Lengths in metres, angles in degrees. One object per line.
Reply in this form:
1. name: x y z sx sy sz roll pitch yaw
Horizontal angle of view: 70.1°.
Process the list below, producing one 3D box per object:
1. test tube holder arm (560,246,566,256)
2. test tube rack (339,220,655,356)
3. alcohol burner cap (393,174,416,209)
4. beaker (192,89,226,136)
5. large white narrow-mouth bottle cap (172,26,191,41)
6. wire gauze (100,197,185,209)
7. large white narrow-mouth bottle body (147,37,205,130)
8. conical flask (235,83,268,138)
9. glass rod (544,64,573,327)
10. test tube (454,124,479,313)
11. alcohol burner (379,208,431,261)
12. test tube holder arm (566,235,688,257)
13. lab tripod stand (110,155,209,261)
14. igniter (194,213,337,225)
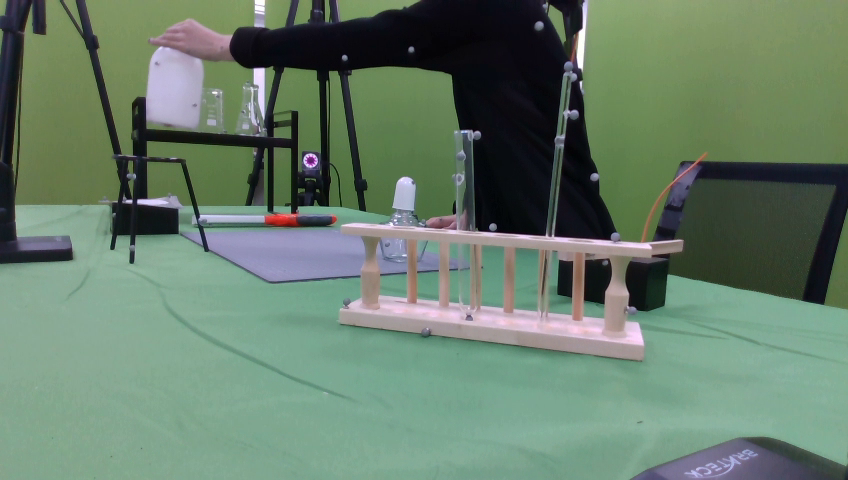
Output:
1. test tube holder arm: 0.173 0.007 0.611 0.088 0.015 0.010 -3 10 -29
2. test tube rack: 0.056 0.032 0.495 0.242 0.085 0.067 4 7 15
3. alcohol burner cap: -0.025 -0.067 0.834 0.034 0.048 0.034 8 7 -1
4. beaker: -0.485 -0.284 1.353 0.073 0.100 0.084 9 10 42
5. large white narrow-mouth bottle cap: -0.484 -0.410 1.207 0.038 0.024 0.037 7 3 0
6. wire gauze: -0.469 -0.062 1.008 0.126 0.011 0.121 -2 8 -25
7. large white narrow-mouth bottle body: -0.493 -0.325 1.210 0.102 0.194 0.102 7 3 0
8. conical flask: -0.401 -0.299 1.405 0.075 0.122 0.075 2 7 0
9. glass rod: 0.101 -0.028 0.453 0.008 0.199 0.008 2 14 0
10. test tube: 0.034 -0.015 0.476 0.017 0.150 0.017 -2 9 1
11. alcohol burner: -0.027 -0.031 0.838 0.078 0.119 0.078 0 6 0
12. test tube holder arm: 0.215 0.006 0.629 0.179 0.015 0.013 -3 10 -30
13. lab tripod stand: -0.362 -0.046 0.806 0.148 0.131 0.148 2 5 0
14. igniter: -0.306 -0.042 1.196 0.278 0.025 0.057 -2 -2 -31
